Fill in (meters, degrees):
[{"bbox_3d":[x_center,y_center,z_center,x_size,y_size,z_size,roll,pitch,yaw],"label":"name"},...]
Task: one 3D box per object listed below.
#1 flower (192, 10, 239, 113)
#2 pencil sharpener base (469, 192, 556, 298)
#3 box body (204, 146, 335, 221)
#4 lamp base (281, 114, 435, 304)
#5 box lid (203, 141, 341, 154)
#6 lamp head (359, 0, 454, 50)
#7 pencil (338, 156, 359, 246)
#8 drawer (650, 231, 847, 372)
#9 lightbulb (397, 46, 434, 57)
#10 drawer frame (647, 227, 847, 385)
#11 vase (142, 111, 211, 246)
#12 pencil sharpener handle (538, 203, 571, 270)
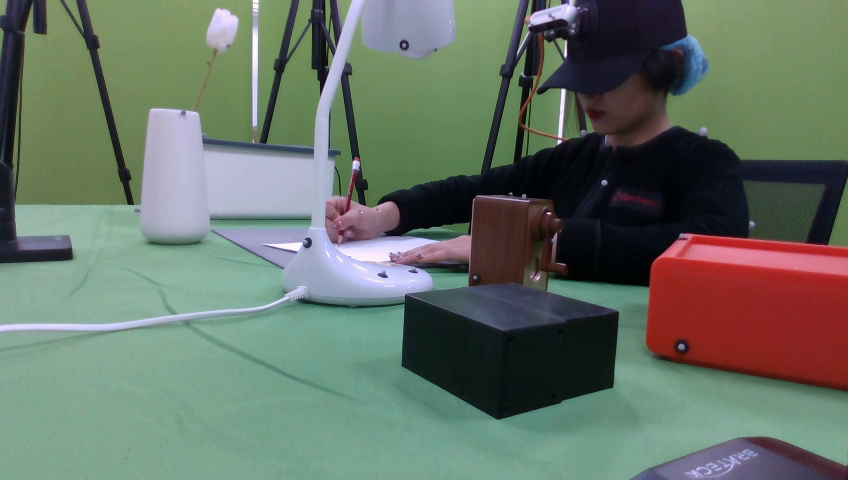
[{"bbox_3d":[-0.354,-0.174,0.915,0.038,0.361,0.044,18,-3,12],"label":"flower"},{"bbox_3d":[0.097,0.003,0.652,0.076,0.107,0.061,8,9,38],"label":"pencil sharpener base"},{"bbox_3d":[-0.411,-0.135,1.386,0.366,0.160,0.253,-2,9,-29],"label":"box body"},{"bbox_3d":[-0.071,-0.034,0.614,0.160,0.180,0.180,6,10,27],"label":"lamp base"},{"bbox_3d":[-0.396,-0.212,1.373,0.373,0.015,0.262,-1,9,-29],"label":"box lid"},{"bbox_3d":[-0.024,-0.282,0.674,0.112,0.123,0.112,-3,38,3],"label":"lamp head"},{"bbox_3d":[-0.125,-0.068,0.996,0.012,0.012,0.193,3,52,3],"label":"pencil"},{"bbox_3d":[0.303,0.044,0.499,0.194,0.073,0.212,7,9,27],"label":"drawer"},{"bbox_3d":[-0.017,-0.264,0.692,0.059,0.108,0.059,-9,28,5],"label":"lightbulb"},{"bbox_3d":[0.303,0.043,0.495,0.201,0.082,0.214,6,9,26],"label":"drawer frame"},{"bbox_3d":[-0.378,-0.093,0.920,0.098,0.200,0.098,2,9,0],"label":"vase"},{"bbox_3d":[0.137,-0.003,0.619,0.030,0.067,0.036,8,7,38],"label":"pencil sharpener handle"}]
